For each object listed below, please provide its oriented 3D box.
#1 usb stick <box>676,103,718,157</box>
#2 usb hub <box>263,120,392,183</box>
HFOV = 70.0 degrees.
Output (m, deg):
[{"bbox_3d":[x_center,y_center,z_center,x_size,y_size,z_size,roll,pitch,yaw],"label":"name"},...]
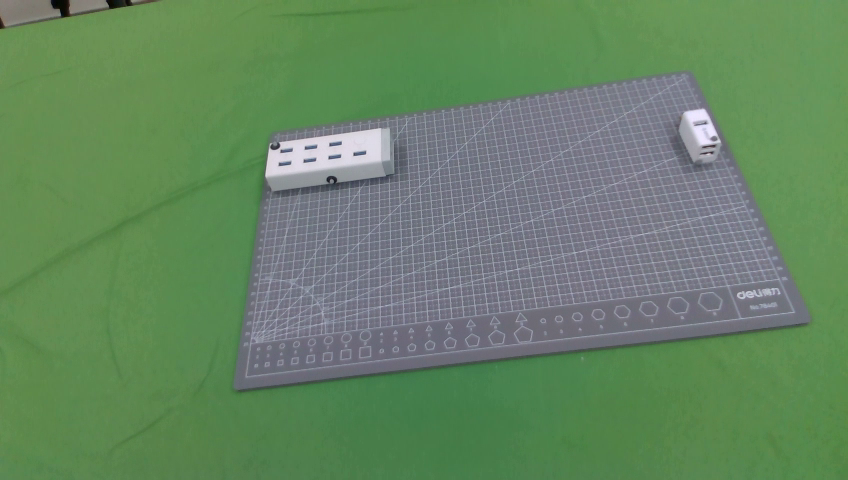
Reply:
[{"bbox_3d":[0.250,-0.107,0.562,0.021,0.027,0.058,-9,51,5],"label":"usb stick"},{"bbox_3d":[-0.096,-0.090,0.608,0.125,0.025,0.049,-6,54,4],"label":"usb hub"}]
